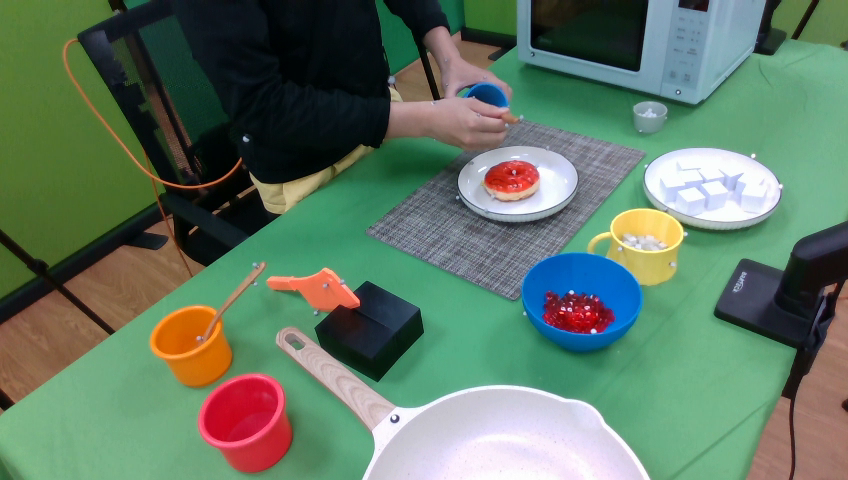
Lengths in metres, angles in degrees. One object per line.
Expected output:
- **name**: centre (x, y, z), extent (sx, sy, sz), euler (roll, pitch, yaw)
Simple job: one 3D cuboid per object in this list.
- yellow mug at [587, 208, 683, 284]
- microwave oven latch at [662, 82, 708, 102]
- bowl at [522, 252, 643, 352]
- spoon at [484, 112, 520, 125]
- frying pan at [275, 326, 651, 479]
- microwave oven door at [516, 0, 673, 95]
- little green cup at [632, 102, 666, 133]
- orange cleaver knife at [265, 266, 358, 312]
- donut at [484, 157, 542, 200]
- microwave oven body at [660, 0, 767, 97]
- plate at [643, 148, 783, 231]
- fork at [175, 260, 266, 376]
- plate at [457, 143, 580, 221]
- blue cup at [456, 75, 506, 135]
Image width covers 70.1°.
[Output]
- **yellow mug**: centre (0.305, 0.009, 0.884), extent (0.131, 0.064, 0.099), euler (-4, 41, 5)
- **microwave oven latch**: centre (0.518, -0.299, 1.203), extent (0.078, 0.029, 0.030), euler (29, 53, 36)
- **bowl**: centre (0.204, 0.093, 0.791), extent (0.151, 0.077, 0.150), euler (-4, 40, 4)
- **spoon**: centre (0.123, -0.190, 0.937), extent (0.041, 0.021, 0.193), euler (-16, 11, 1)
- **frying pan**: centre (0.003, 0.229, 0.641), extent (0.484, 0.103, 0.308), euler (34, 54, 28)
- **microwave oven door**: centre (0.344, -0.458, 1.256), extent (0.353, 0.245, 0.039), euler (26, 52, 33)
- **little green cup**: centre (0.434, -0.237, 1.171), extent (0.061, 0.039, 0.061), euler (-5, 40, 5)
- **orange cleaver knife**: centre (-0.164, 0.073, 0.864), extent (0.210, 0.077, 0.012), euler (-6, 30, 50)
- **donut**: centre (0.153, -0.108, 1.039), extent (0.099, 0.048, 0.098), euler (-6, 37, 5)
- **microwave oven body**: centre (0.473, -0.516, 1.313), extent (0.438, 0.261, 0.327), euler (26, 51, 34)
- **plate**: centre (0.464, -0.079, 0.985), extent (0.207, 0.039, 0.206), euler (-4, 41, 4)
- **fork**: centre (-0.268, 0.103, 0.792), extent (0.207, 0.019, 0.028), euler (-51, 41, 16)
- **plate**: centre (0.162, -0.097, 1.042), extent (0.209, 0.038, 0.208), euler (-4, 40, 4)
- **blue cup**: centre (0.094, -0.228, 1.067), extent (0.093, 0.092, 0.100), euler (-10, -4, -3)
